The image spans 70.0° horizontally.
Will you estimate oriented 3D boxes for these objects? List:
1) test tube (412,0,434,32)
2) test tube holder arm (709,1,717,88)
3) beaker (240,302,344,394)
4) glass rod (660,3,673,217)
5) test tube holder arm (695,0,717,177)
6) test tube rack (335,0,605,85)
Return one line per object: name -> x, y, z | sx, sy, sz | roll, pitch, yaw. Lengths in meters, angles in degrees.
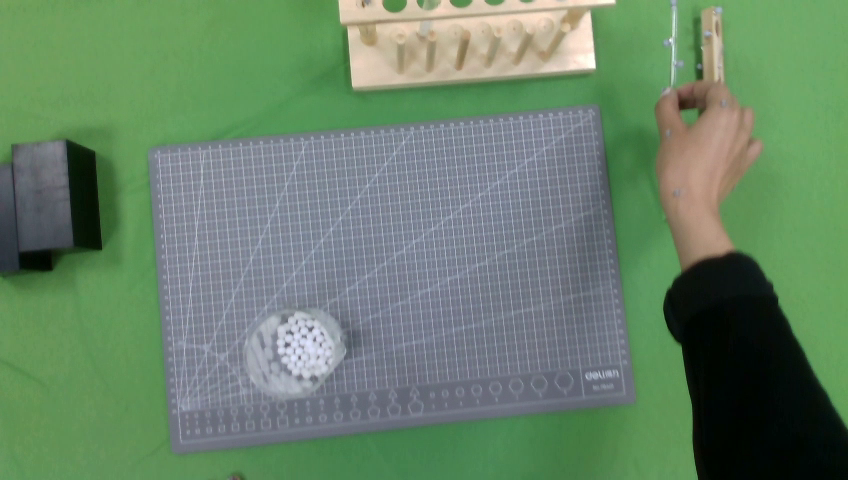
test tube -> 0.004, -0.219, 0.525 | 0.017, 0.150, 0.017 | 1, 83, -7
test tube holder arm -> 0.288, -0.196, 0.612 | 0.010, 0.015, 0.087 | 3, 86, -31
beaker -> -0.110, 0.092, 0.543 | 0.084, 0.100, 0.074 | -2, 86, -2
glass rod -> 0.227, -0.115, 0.568 | 0.008, 0.008, 0.201 | -8, 112, -2
test tube holder arm -> 0.283, -0.151, 0.606 | 0.013, 0.015, 0.178 | 2, 86, -31
test tube rack -> 0.043, -0.202, 0.574 | 0.242, 0.085, 0.066 | -5, 86, -2
